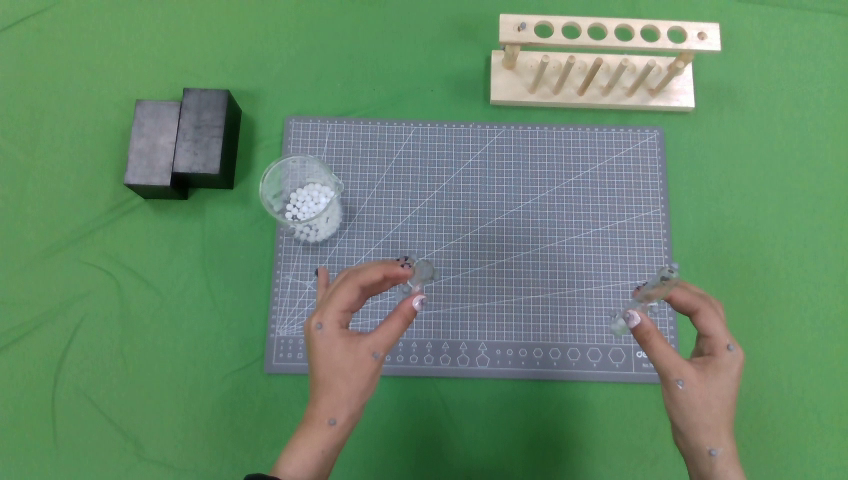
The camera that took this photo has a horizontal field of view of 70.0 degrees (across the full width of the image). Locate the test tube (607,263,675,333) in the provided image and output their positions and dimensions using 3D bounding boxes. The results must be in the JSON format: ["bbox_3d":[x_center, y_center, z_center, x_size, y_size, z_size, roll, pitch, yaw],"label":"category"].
[{"bbox_3d":[0.175,0.052,0.499,0.017,0.151,0.017,-1,67,2],"label":"test tube"}]

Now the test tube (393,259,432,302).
[{"bbox_3d":[-0.012,0.036,0.499,0.017,0.150,0.017,2,78,-8],"label":"test tube"}]

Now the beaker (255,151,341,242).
[{"bbox_3d":[-0.126,-0.042,0.645,0.084,0.100,0.073,-6,77,-3],"label":"beaker"}]

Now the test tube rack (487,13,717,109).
[{"bbox_3d":[0.199,-0.204,0.699,0.242,0.085,0.066,2,77,-1],"label":"test tube rack"}]
